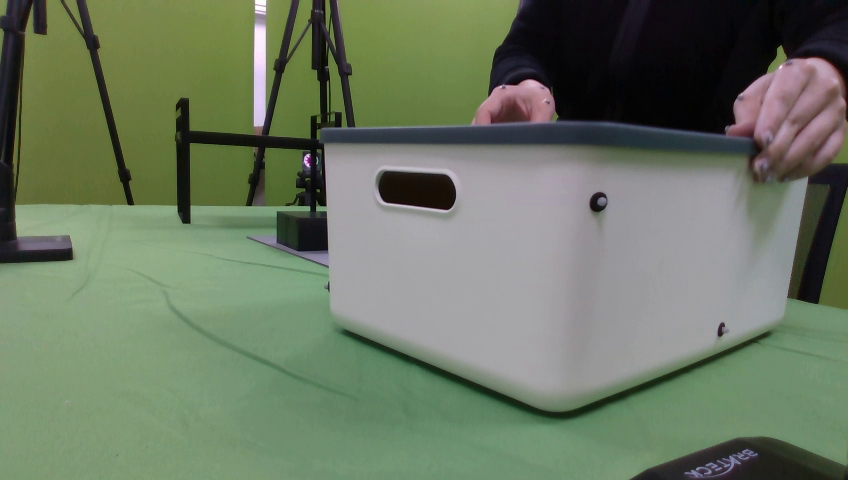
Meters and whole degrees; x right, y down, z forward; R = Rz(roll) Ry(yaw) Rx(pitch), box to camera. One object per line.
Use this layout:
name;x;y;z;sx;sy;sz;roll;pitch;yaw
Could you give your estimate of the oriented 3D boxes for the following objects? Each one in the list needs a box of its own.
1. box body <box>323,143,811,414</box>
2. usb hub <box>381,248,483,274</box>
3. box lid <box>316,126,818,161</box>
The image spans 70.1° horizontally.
box body;0.124;-0.001;0.509;0.366;0.160;0.253;-4;10;-41
usb hub;0.011;0.026;0.775;0.126;0.025;0.049;-1;8;-27
box lid;0.128;-0.076;0.500;0.374;0.015;0.262;-5;11;-41
